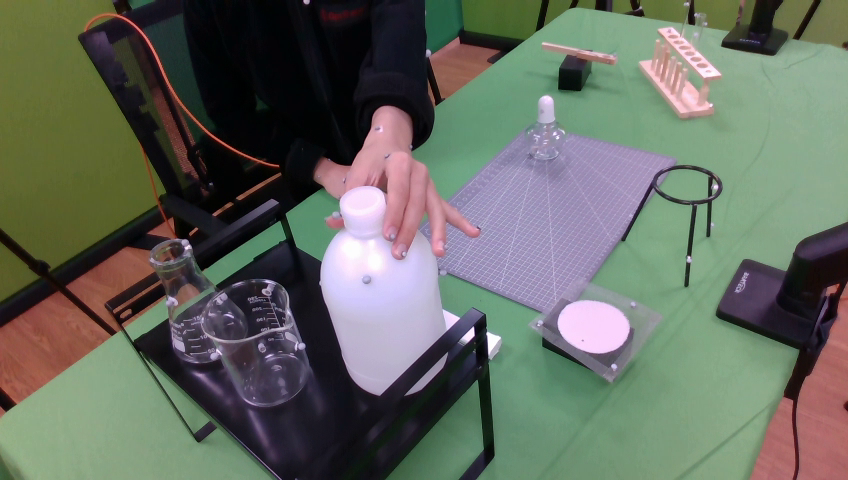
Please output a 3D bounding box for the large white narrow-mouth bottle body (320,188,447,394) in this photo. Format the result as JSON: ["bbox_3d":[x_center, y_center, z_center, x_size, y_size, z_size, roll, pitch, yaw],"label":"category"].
[{"bbox_3d":[-0.036,0.041,0.526,0.102,0.195,0.101,-5,41,5],"label":"large white narrow-mouth bottle body"}]

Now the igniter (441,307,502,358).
[{"bbox_3d":[-0.009,0.094,0.870,0.274,0.025,0.057,25,60,33],"label":"igniter"}]

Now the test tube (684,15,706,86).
[{"bbox_3d":[0.541,-0.378,1.215,0.017,0.151,0.017,-2,44,3],"label":"test tube"}]

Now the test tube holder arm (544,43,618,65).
[{"bbox_3d":[0.345,-0.413,1.341,0.177,0.015,0.013,25,49,32],"label":"test tube holder arm"}]

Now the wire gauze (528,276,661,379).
[{"bbox_3d":[0.214,0.103,0.763,0.124,0.011,0.122,30,53,35],"label":"wire gauze"}]

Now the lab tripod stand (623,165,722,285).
[{"bbox_3d":[0.365,-0.030,0.874,0.148,0.132,0.147,-6,41,6],"label":"lab tripod stand"}]

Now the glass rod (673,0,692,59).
[{"bbox_3d":[0.537,-0.437,1.257,0.008,0.200,0.008,0,39,0],"label":"glass rod"}]

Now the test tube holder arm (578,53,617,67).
[{"bbox_3d":[0.376,-0.393,1.314,0.087,0.015,0.010,26,50,32],"label":"test tube holder arm"}]

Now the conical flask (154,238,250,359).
[{"bbox_3d":[-0.225,0.055,0.597,0.075,0.122,0.075,-5,41,4],"label":"conical flask"}]

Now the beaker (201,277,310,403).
[{"bbox_3d":[-0.146,0.095,0.555,0.083,0.101,0.074,11,44,20],"label":"beaker"}]

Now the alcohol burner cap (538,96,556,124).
[{"bbox_3d":[0.222,-0.237,1.095,0.034,0.048,0.033,-6,35,5],"label":"alcohol burner cap"}]

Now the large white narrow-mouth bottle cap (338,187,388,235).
[{"bbox_3d":[-0.047,-0.023,0.470,0.038,0.024,0.037,-5,41,4],"label":"large white narrow-mouth bottle cap"}]

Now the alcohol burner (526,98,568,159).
[{"bbox_3d":[0.228,-0.210,1.118,0.078,0.119,0.077,-5,43,5],"label":"alcohol burner"}]

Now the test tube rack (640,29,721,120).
[{"bbox_3d":[0.527,-0.351,1.262,0.067,0.085,0.241,-8,40,1],"label":"test tube rack"}]
